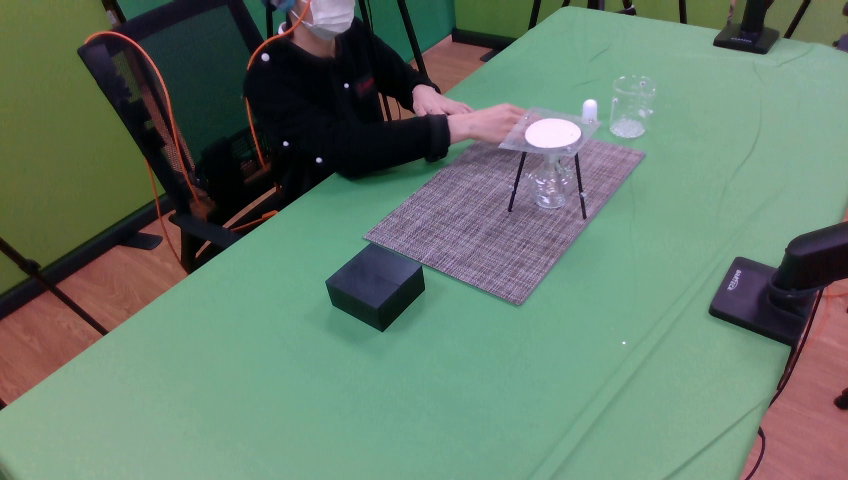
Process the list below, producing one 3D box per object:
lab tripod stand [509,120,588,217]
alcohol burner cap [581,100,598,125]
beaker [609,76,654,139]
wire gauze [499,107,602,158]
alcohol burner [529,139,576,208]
[{"bbox_3d":[0.208,-0.114,0.983,0.148,0.132,0.147,-5,42,5],"label":"lab tripod stand"},{"bbox_3d":[0.331,-0.258,1.210,0.034,0.048,0.033,-5,41,5],"label":"alcohol burner cap"},{"bbox_3d":[0.393,-0.248,1.144,0.074,0.101,0.083,-32,47,-24],"label":"beaker"},{"bbox_3d":[0.198,-0.168,0.943,0.120,0.011,0.125,17,47,27],"label":"wire gauze"},{"bbox_3d":[0.211,-0.112,0.995,0.078,0.119,0.077,-6,41,6],"label":"alcohol burner"}]
